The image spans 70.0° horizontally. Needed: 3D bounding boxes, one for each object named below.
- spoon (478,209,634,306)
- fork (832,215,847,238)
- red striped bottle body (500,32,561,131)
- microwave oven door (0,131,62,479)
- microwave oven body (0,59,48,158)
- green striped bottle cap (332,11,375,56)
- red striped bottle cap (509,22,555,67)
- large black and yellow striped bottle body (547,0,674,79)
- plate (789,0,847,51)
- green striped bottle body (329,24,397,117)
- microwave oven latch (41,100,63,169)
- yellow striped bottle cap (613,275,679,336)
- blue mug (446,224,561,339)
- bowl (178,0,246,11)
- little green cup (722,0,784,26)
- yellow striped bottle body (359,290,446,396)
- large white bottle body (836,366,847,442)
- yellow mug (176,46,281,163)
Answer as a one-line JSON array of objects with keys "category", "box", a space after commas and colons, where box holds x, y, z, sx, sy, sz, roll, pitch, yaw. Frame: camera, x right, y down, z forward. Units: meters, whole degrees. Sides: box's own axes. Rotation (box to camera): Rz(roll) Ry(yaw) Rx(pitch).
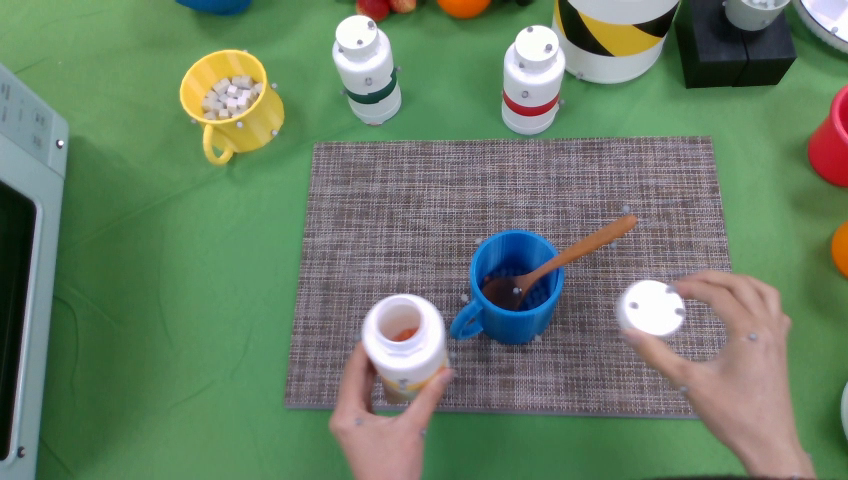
[{"category": "spoon", "box": [0.107, 0.022, 0.534, 0.022, 0.194, 0.041, 1, 64, -33]}, {"category": "fork", "box": [0.464, 0.013, 0.533, 0.028, 0.019, 0.205, -37, 26, -8]}, {"category": "red striped bottle body", "box": [0.113, -0.175, 0.651, 0.063, 0.120, 0.062, -3, 67, 7]}, {"category": "microwave oven door", "box": [-0.422, 0.045, 0.529, 0.039, 0.245, 0.353, -9, 69, 2]}, {"category": "microwave oven body", "box": [-0.572, 0.030, 0.553, 0.326, 0.262, 0.438, -9, 69, 1]}, {"category": "green striped bottle cap", "box": [-0.073, -0.214, 0.625, 0.044, 0.020, 0.044, -1, 70, 3]}, {"category": "red striped bottle cap", "box": [0.107, -0.195, 0.602, 0.044, 0.018, 0.044, 0, 68, 1]}, {"category": "large black and yellow striped bottle body", "box": [0.204, -0.277, 0.647, 0.131, 0.185, 0.130, -2, 69, 5]}, {"category": "plate", "box": [0.525, -0.294, 0.704, 0.209, 0.038, 0.207, -2, 70, 4]}, {"category": "green striped bottle body", "box": [-0.067, -0.194, 0.674, 0.063, 0.120, 0.062, -1, 69, 4]}, {"category": "microwave oven latch", "box": [-0.440, -0.121, 0.701, 0.030, 0.030, 0.078, -7, 70, 2]}, {"category": "yellow striped bottle cap", "box": [0.166, 0.049, 0.452, 0.044, 0.019, 0.044, 0, 65, 0]}, {"category": "blue mug", "box": [0.069, 0.052, 0.572, 0.116, 0.106, 0.081, -35, 69, -8]}, {"category": "bowl", "box": [-0.268, -0.349, 0.772, 0.151, 0.077, 0.150, -1, 69, 4]}, {"category": "little green cup", "box": [0.355, -0.264, 0.652, 0.061, 0.039, 0.061, -1, 67, 2]}, {"category": "yellow striped bottle body", "box": [-0.016, 0.082, 0.488, 0.063, 0.121, 0.062, -2, 62, 4]}, {"category": "large white bottle body", "box": [0.435, 0.130, 0.471, 0.130, 0.186, 0.129, -2, 69, 5]}, {"category": "yellow mug", "box": [-0.229, -0.151, 0.700, 0.100, 0.064, 0.130, 9, 71, 8]}]
